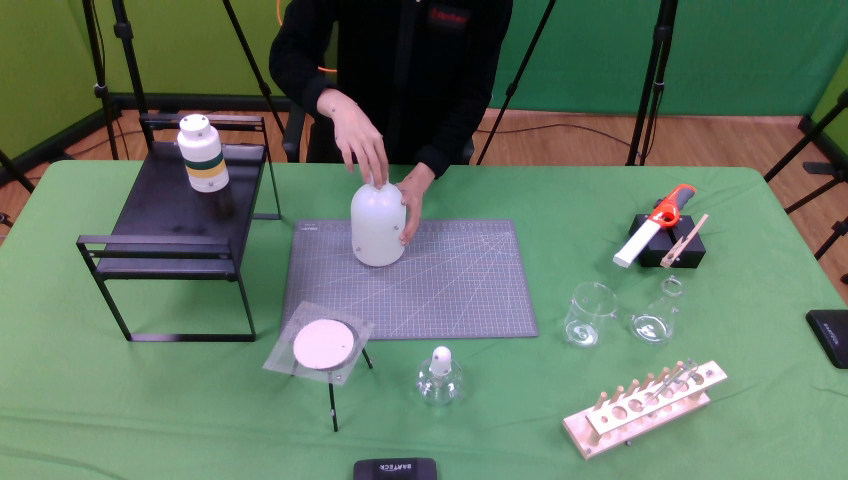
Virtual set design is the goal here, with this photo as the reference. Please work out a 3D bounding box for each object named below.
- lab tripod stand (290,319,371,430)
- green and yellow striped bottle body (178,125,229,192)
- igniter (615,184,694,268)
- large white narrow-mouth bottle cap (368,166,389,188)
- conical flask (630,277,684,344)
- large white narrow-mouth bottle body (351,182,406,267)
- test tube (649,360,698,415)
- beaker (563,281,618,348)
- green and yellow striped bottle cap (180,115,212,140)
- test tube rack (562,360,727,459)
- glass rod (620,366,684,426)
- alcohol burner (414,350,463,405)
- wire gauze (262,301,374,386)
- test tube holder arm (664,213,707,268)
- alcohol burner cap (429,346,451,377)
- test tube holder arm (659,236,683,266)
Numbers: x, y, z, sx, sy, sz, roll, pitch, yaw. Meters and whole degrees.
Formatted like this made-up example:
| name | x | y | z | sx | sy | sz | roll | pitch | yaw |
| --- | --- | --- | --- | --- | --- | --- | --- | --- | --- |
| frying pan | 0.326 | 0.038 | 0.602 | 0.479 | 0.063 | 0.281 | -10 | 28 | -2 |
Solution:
| name | x | y | z | sx | sy | sz | roll | pitch | yaw |
| --- | --- | --- | --- | --- | --- | --- | --- | --- | --- |
| lab tripod stand | -0.146 | 0.194 | 0.923 | 0.148 | 0.132 | 0.147 | 1 | 47 | -1 |
| green and yellow striped bottle body | -0.361 | -0.142 | 0.989 | 0.063 | 0.120 | 0.063 | 2 | 46 | -2 |
| igniter | 0.459 | -0.035 | 1.197 | 0.057 | 0.025 | 0.276 | 32 | 55 | 27 |
| large white narrow-mouth bottle cap | -0.078 | -0.110 | 1.053 | 0.038 | 0.024 | 0.037 | 3 | 44 | -2 |
| conical flask | 0.408 | 0.117 | 1.045 | 0.075 | 0.122 | 0.075 | 2 | 46 | -2 |
| large white narrow-mouth bottle body | -0.084 | -0.046 | 1.114 | 0.102 | 0.195 | 0.101 | 2 | 44 | -2 |
| test tube | 0.365 | 0.222 | 0.898 | 0.017 | 0.151 | 0.017 | 4 | 49 | -5 |
| beaker | 0.283 | 0.129 | 1.041 | 0.074 | 0.101 | 0.083 | 11 | 46 | 6 |
| green and yellow striped bottle cap | -0.358 | -0.177 | 0.951 | 0.045 | 0.020 | 0.045 | 2 | 45 | -1 |
| test tube rack | 0.341 | 0.247 | 0.940 | 0.243 | 0.085 | 0.066 | -16 | 49 | -18 |
| glass rod | 0.322 | 0.227 | 0.866 | 0.008 | 0.200 | 0.008 | 5 | 51 | -7 |
| alcohol burner | 0.023 | 0.205 | 0.939 | 0.078 | 0.120 | 0.077 | 1 | 47 | -1 |
| wire gauze | -0.150 | 0.148 | 0.873 | 0.121 | 0.011 | 0.124 | 14 | 46 | 12 |
| test tube holder arm | 0.507 | -0.001 | 1.171 | 0.013 | 0.015 | 0.178 | 34 | 54 | 26 |
| alcohol burner cap | 0.026 | 0.180 | 0.912 | 0.034 | 0.048 | 0.033 | 1 | 47 | -1 |
| test tube holder arm | 0.472 | 0.020 | 1.149 | 0.010 | 0.015 | 0.088 | 35 | 54 | 27 |
